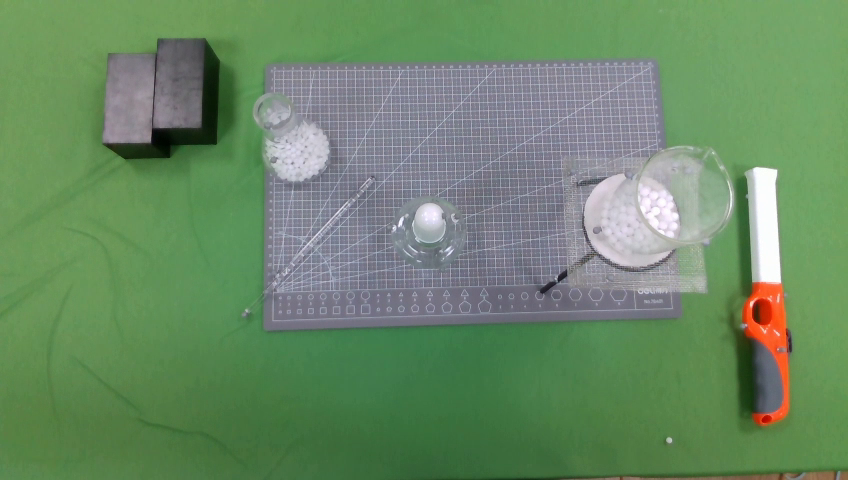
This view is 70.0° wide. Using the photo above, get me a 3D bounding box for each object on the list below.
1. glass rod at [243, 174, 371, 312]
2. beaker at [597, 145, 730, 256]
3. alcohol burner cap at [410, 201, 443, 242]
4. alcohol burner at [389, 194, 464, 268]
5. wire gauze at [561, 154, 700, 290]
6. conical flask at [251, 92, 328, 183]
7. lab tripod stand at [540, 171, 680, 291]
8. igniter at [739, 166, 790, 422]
[{"bbox_3d":[-0.125,0.001,0.653,0.008,0.008,0.199,41,82,5],"label":"glass rod"},{"bbox_3d":[0.188,-0.029,0.492,0.074,0.100,0.084,34,82,3],"label":"beaker"},{"bbox_3d":[0.003,-0.020,0.572,0.034,0.048,0.033,1,74,-2],"label":"alcohol burner cap"},{"bbox_3d":[0.002,-0.012,0.608,0.078,0.119,0.077,0,81,0],"label":"alcohol burner"},{"bbox_3d":[0.184,-0.017,0.538,0.125,0.011,0.121,1,84,-3],"label":"wire gauze"},{"bbox_3d":[-0.141,-0.108,0.613,0.075,0.122,0.075,0,80,-2],"label":"conical flask"},{"bbox_3d":[0.182,-0.004,0.603,0.148,0.132,0.148,0,82,-2],"label":"lab tripod stand"},{"bbox_3d":[0.367,0.055,0.657,0.057,0.025,0.275,5,81,-12],"label":"igniter"}]
